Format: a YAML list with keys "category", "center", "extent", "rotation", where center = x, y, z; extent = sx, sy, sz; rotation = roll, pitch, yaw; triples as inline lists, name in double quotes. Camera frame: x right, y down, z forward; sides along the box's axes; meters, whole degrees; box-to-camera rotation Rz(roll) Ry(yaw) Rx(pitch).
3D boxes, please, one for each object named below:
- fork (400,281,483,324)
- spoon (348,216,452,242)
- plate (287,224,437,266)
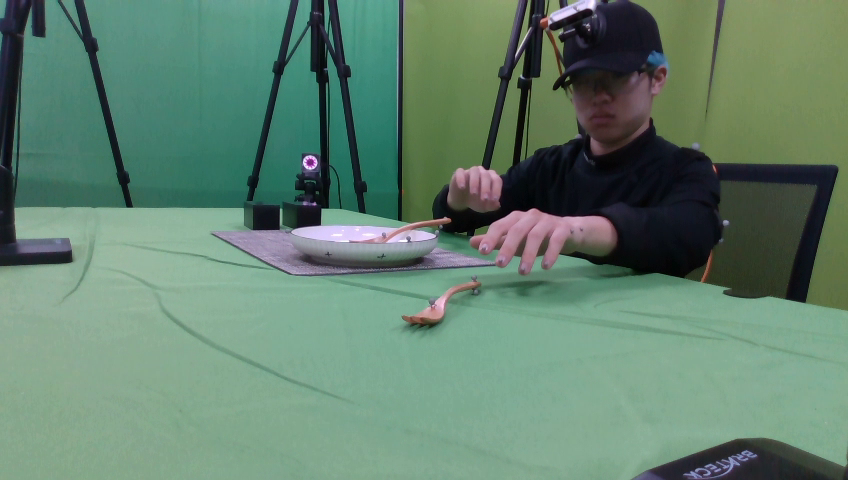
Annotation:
- category: "fork"
  center: [0.025, 0.057, 0.590]
  extent: [0.028, 0.018, 0.208]
  rotation: [-1, 7, 21]
- category: "spoon"
  center: [-0.030, -0.016, 0.924]
  extent: [0.195, 0.021, 0.041]
  rotation: [-19, 15, -36]
- category: "plate"
  center: [-0.086, 0.007, 0.852]
  extent: [0.208, 0.039, 0.207]
  rotation: [2, 7, 0]
